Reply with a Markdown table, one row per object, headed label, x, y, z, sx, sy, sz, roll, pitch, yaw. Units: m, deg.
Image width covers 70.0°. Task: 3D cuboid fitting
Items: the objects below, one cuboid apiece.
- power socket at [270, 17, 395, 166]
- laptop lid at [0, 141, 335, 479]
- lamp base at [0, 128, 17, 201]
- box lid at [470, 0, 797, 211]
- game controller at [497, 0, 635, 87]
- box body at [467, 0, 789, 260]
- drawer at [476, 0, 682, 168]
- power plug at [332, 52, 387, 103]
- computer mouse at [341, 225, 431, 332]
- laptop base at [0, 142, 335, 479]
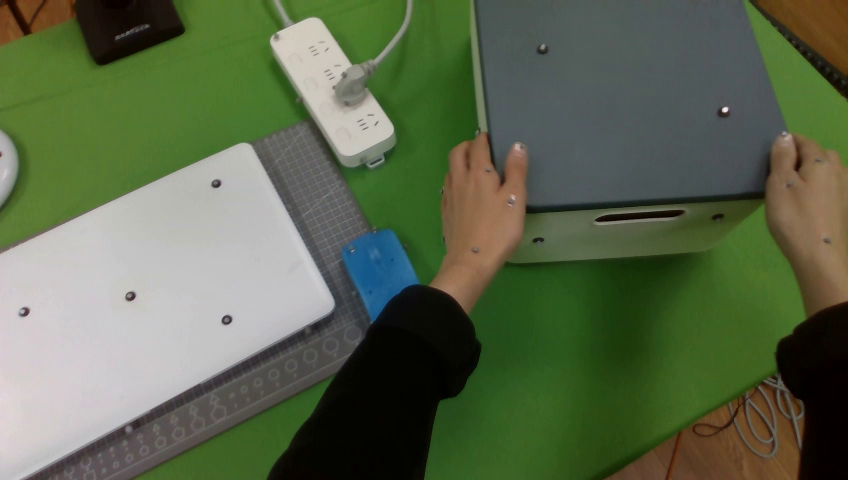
| label | x | y | z | sx | sy | sz | roll | pitch | yaw |
| --- | --- | --- | --- | --- | --- | --- | --- | --- | --- |
| power socket | -0.113 | -0.183 | 0.732 | 0.072 | 0.033 | 0.225 | -28 | 68 | -13 |
| laptop lid | -0.297 | 0.056 | 0.624 | 0.357 | 0.013 | 0.240 | -27 | 71 | -10 |
| lamp base | -0.565 | -0.110 | 0.627 | 0.178 | 0.181 | 0.160 | 19 | 67 | 13 |
| box lid | 0.180 | -0.201 | 0.583 | 0.263 | 0.015 | 0.368 | -4 | 67 | 0 |
| game controller | 0.160 | -0.250 | 0.670 | 0.097 | 0.052 | 0.154 | -28 | 69 | -14 |
| box body | 0.182 | -0.168 | 0.649 | 0.254 | 0.161 | 0.361 | -4 | 66 | -1 |
| drawer | 0.169 | -0.191 | 0.713 | 0.194 | 0.074 | 0.209 | -6 | 56 | 1 |
| power plug | -0.071 | -0.181 | 0.706 | 0.072 | 0.053 | 0.035 | -18 | 65 | -8 |
| computer mouse | -0.041 | 0.036 | 0.628 | 0.063 | 0.041 | 0.116 | -24 | 64 | -8 |
| laptop base | -0.298 | 0.059 | 0.636 | 0.354 | 0.023 | 0.234 | -28 | 72 | -11 |
